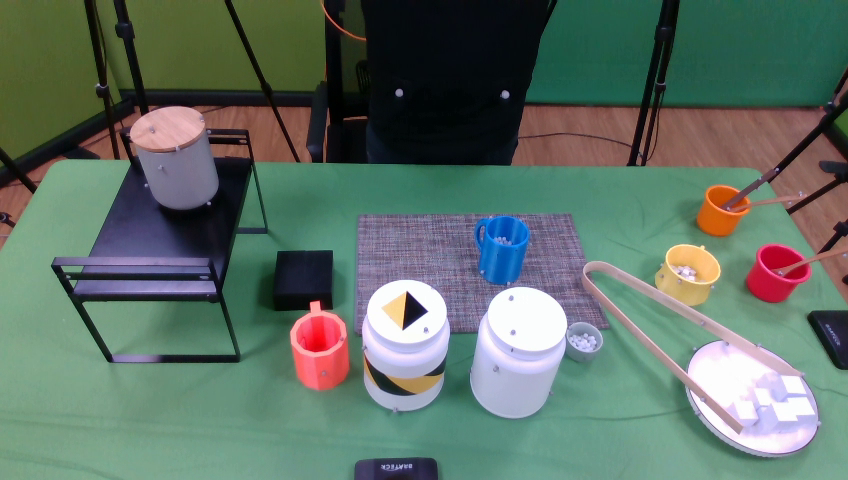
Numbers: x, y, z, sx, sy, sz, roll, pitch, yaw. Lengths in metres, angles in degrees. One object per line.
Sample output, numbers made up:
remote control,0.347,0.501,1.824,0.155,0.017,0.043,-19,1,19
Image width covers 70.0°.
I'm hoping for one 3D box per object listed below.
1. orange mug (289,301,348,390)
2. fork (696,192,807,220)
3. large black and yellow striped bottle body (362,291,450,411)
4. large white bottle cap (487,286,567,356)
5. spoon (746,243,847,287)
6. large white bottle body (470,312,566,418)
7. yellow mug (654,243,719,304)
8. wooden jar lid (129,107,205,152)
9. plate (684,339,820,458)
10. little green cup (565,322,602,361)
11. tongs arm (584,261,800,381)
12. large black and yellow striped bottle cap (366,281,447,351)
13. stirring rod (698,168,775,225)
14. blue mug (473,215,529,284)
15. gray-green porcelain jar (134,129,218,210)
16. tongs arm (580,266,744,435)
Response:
orange mug,-0.170,0.162,0.976,0.083,0.101,0.125,-7,52,-11
fork,0.655,-0.069,1.224,0.207,0.019,0.028,-17,33,45
large black and yellow striped bottle body,-0.029,0.163,0.928,0.131,0.185,0.130,2,47,-2
large white bottle cap,0.147,0.114,0.869,0.115,0.018,0.114,3,46,-3
spoon,0.703,0.042,1.127,0.194,0.022,0.041,-29,33,30
large white bottle body,0.143,0.173,0.930,0.131,0.185,0.130,2,46,-2
yellow mug,0.503,0.054,1.154,0.099,0.064,0.130,28,50,22
wooden jar lid,-0.385,-0.163,0.915,0.108,0.021,0.107,2,47,-2
plate,0.523,0.256,0.982,0.208,0.039,0.206,2,46,-2
little green cup,0.270,0.176,1.039,0.061,0.039,0.061,3,46,-2
tongs arm,0.452,0.137,1.064,0.051,0.027,0.382,-34,50,-27
large black and yellow striped bottle cap,-0.025,0.106,0.866,0.115,0.019,0.114,1,46,-1
stirring rod,0.644,-0.089,1.252,0.176,0.006,0.014,-40,52,16
blue mug,0.135,0.009,1.136,0.082,0.106,0.116,-32,56,-29
gray-green porcelain jar,-0.388,-0.120,0.960,0.106,0.127,0.105,2,46,-2
tongs arm,0.384,0.173,1.028,0.028,0.028,0.385,-25,46,-15
